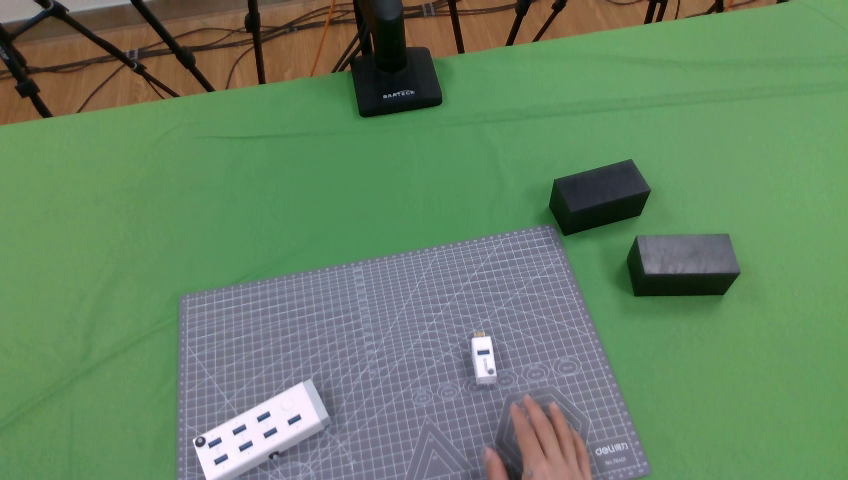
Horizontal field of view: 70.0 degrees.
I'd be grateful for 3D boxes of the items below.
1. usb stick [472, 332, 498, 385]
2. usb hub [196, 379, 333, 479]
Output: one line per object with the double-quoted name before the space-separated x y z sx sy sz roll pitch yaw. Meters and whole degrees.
"usb stick" 0.063 0.121 0.637 0.021 0.027 0.058 -7 54 1
"usb hub" -0.158 0.189 0.603 0.125 0.025 0.049 -25 59 -14
